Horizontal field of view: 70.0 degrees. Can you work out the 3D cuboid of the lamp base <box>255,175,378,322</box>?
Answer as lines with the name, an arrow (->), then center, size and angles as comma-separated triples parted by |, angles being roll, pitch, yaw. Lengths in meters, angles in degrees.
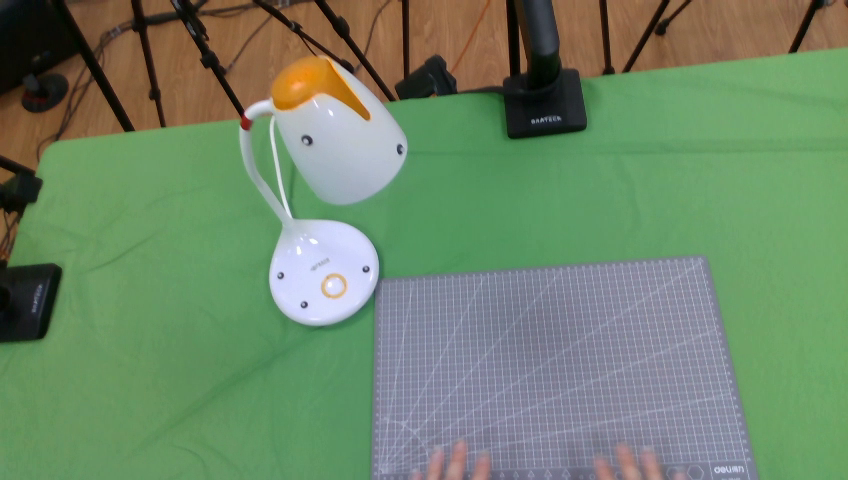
lamp base -> -0.165, 0.000, 0.806 | 0.160, 0.182, 0.177 | -41, 62, -11

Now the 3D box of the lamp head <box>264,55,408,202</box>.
lamp head -> -0.092, -0.114, 0.581 | 0.112, 0.124, 0.111 | -17, 49, 22

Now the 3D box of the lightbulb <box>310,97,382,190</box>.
lightbulb -> -0.080, -0.095, 0.595 | 0.059, 0.109, 0.059 | -12, 49, 14
